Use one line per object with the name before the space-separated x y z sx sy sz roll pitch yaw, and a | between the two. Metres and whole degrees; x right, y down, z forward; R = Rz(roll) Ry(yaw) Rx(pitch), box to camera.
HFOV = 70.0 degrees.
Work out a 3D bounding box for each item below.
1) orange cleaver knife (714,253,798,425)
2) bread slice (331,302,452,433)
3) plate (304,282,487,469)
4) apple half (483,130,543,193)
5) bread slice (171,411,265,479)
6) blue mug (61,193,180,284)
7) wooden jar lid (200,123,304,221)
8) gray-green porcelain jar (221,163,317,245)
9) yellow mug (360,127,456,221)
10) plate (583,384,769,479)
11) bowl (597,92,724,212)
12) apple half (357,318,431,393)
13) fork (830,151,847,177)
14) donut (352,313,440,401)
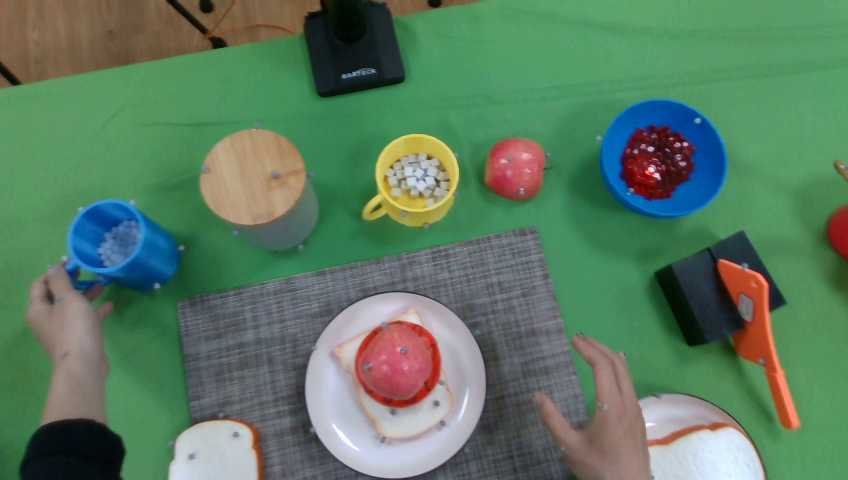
orange cleaver knife | 0.386 0.114 0.707 0.012 0.077 0.212 -23 100 -14
bread slice | -0.029 0.152 0.703 0.107 0.018 0.133 -30 78 -8
plate | -0.032 0.154 0.701 0.208 0.039 0.206 1 76 -2
apple half | 0.114 -0.104 0.764 0.074 0.053 0.080 10 77 3
bread slice | -0.233 0.259 0.679 0.105 0.019 0.131 -4 78 -4
blue mug | -0.352 0.011 0.691 0.116 0.106 0.082 -38 80 -10
wooden jar lid | -0.181 -0.071 0.643 0.108 0.021 0.108 0 75 -1
gray-green porcelain jar | -0.183 -0.055 0.703 0.106 0.127 0.105 1 76 -2
yellow mug | -0.024 -0.071 0.744 0.131 0.064 0.099 -35 79 -9
plate | 0.281 0.271 0.688 0.209 0.038 0.208 0 76 -2
bowl | 0.281 -0.098 0.756 0.151 0.077 0.150 0 77 -2
apple half | -0.031 0.124 0.642 0.081 0.033 0.081 -1 80 3
fork | 0.521 -0.052 0.717 0.209 0.018 0.028 30 71 -37
donut | -0.030 0.130 0.677 0.099 0.048 0.098 1 76 -2
